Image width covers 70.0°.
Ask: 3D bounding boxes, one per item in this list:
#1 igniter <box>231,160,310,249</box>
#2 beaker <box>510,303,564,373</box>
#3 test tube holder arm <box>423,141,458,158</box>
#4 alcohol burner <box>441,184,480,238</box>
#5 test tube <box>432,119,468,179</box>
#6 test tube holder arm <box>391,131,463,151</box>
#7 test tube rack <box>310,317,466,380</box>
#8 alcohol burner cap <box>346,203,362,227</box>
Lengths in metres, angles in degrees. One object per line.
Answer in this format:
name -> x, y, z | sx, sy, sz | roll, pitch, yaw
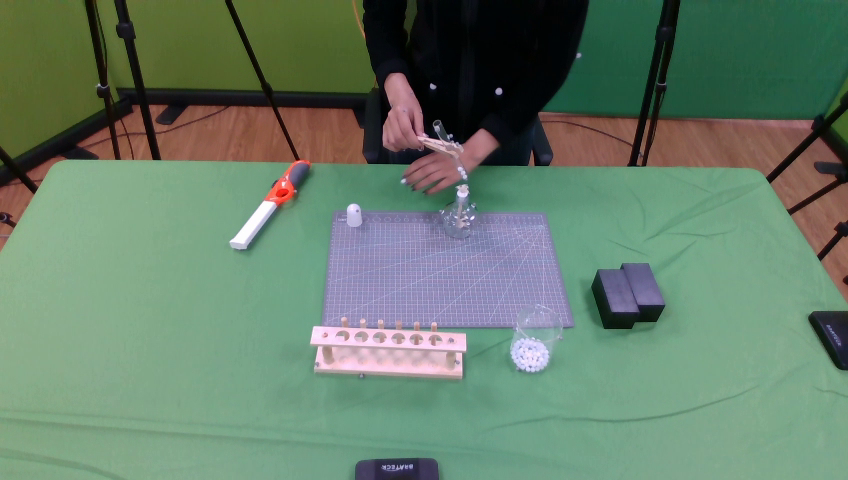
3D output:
igniter -> -0.311, -0.081, 1.250 | 0.057, 0.025, 0.275 | 9, 45, 18
beaker -> 0.182, 0.164, 1.000 | 0.074, 0.101, 0.083 | 2, 45, -1
test tube holder arm -> 0.029, -0.165, 1.088 | 0.010, 0.015, 0.087 | -49, 45, -9
alcohol burner -> 0.073, -0.061, 1.195 | 0.078, 0.120, 0.077 | 1, 47, -1
test tube -> 0.048, -0.159, 1.076 | 0.017, 0.151, 0.017 | -14, 52, 18
test tube holder arm -> 0.002, -0.184, 1.120 | 0.177, 0.015, 0.013 | 21, 70, 42
test tube rack -> -0.056, 0.171, 0.986 | 0.242, 0.085, 0.066 | 3, 45, -1
alcohol burner cap -> -0.141, -0.053, 1.222 | 0.034, 0.048, 0.033 | 2, 47, -2
